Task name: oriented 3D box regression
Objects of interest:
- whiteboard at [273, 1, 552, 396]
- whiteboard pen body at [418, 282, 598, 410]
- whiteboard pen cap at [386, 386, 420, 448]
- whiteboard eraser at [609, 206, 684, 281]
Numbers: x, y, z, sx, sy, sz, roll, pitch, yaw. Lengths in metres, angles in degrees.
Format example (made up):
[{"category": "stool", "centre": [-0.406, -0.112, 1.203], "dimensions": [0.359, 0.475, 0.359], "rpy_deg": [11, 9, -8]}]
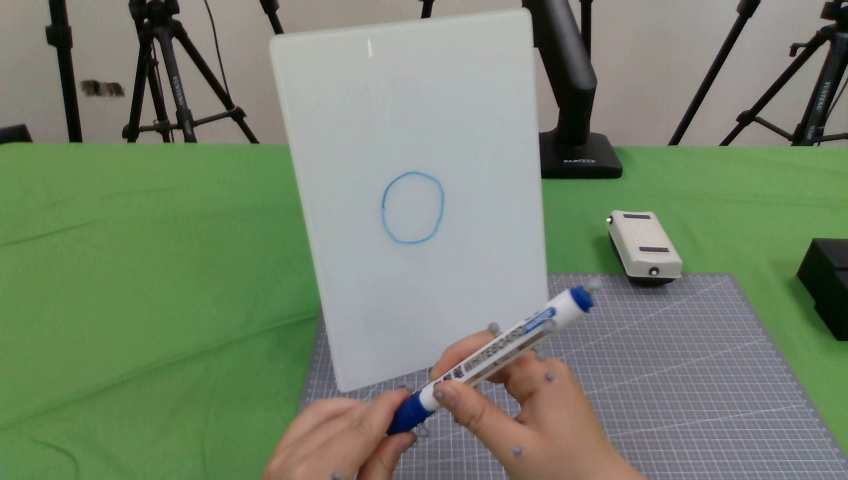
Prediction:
[{"category": "whiteboard", "centre": [-0.012, -0.048, 0.574], "dimensions": [0.218, 0.307, 0.142], "rpy_deg": [-13, 20, -17]}, {"category": "whiteboard pen body", "centre": [0.036, 0.066, 0.337], "dimensions": [0.141, 0.017, 0.017], "rpy_deg": [-38, 30, 23]}, {"category": "whiteboard pen cap", "centre": [-0.012, 0.104, 0.357], "dimensions": [0.018, 0.033, 0.018], "rpy_deg": [13, -3, 1]}, {"category": "whiteboard eraser", "centre": [0.247, 0.003, 0.683], "dimensions": [0.055, 0.042, 0.111], "rpy_deg": [0, 33, 2]}]
